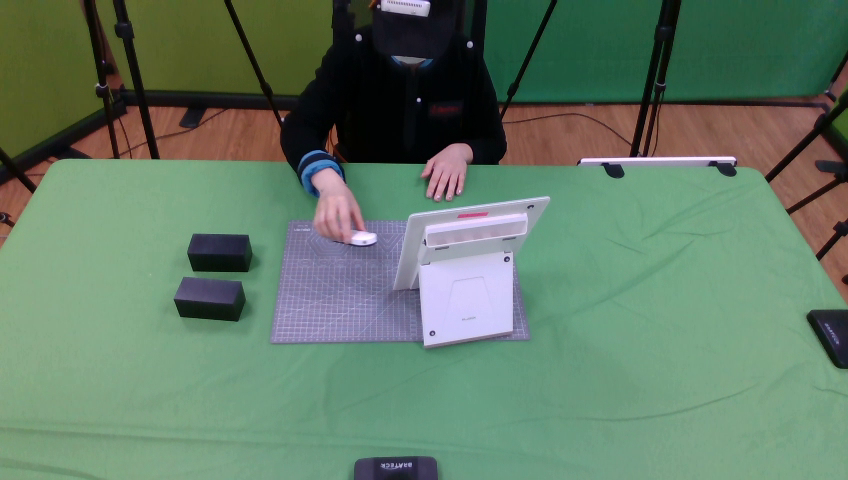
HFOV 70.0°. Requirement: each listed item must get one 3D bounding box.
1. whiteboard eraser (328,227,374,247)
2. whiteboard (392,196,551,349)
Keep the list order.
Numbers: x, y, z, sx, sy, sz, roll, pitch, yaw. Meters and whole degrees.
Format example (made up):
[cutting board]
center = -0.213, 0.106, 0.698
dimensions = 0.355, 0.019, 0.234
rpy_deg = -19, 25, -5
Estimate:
[whiteboard eraser]
center = -0.133, -0.007, 1.094
dimensions = 0.101, 0.019, 0.041
rpy_deg = 13, 25, 38
[whiteboard]
center = 0.077, 0.071, 0.977
dimensions = 0.217, 0.306, 0.143
rpy_deg = -7, 67, -11
